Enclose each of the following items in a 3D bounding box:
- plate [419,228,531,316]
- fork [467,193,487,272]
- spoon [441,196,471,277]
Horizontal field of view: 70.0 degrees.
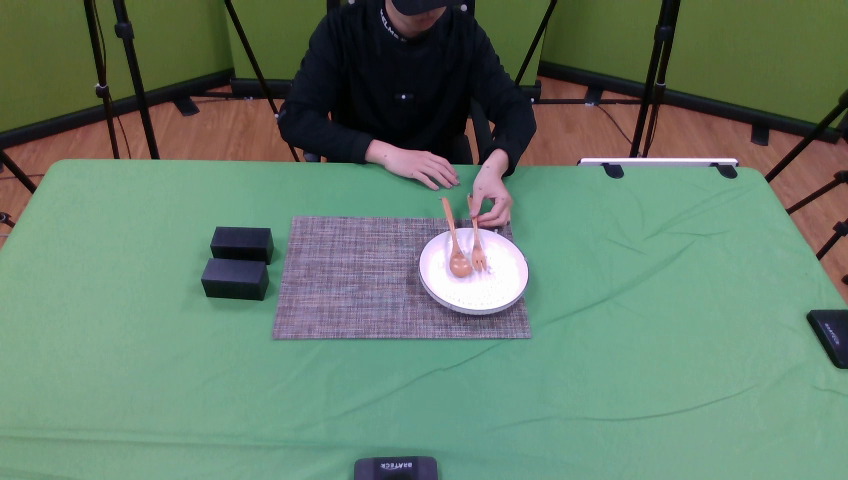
[{"bbox_3d":[0.093,0.062,1.130,0.208,0.039,0.206,2,46,-2],"label":"plate"},{"bbox_3d":[0.101,-0.019,1.189,0.028,0.019,0.206,-6,53,2],"label":"fork"},{"bbox_3d":[0.056,-0.010,1.176,0.041,0.022,0.192,-6,60,-6],"label":"spoon"}]
